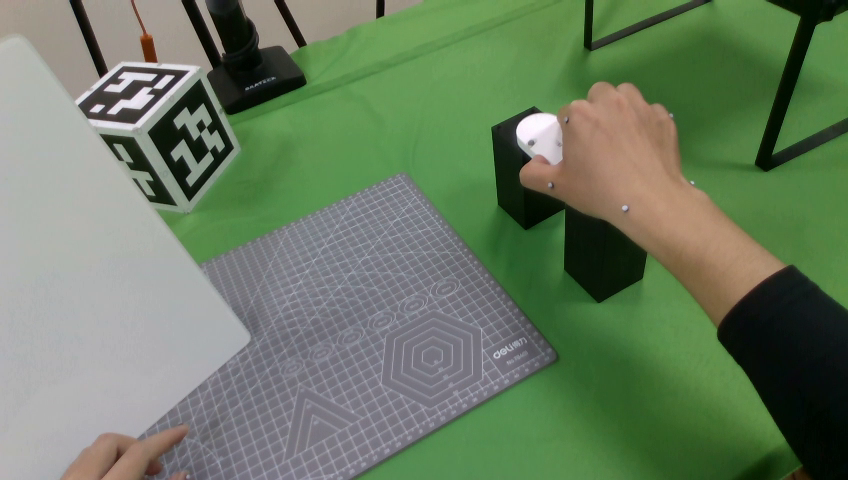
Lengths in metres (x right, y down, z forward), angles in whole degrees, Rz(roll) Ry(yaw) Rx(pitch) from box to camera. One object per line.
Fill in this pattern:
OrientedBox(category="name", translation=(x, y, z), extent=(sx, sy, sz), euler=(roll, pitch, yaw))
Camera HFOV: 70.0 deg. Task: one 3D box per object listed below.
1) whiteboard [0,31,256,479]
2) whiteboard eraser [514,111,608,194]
OrientedBox(category="whiteboard", translation=(-0.329, 0.028, 0.491), extent=(0.217, 0.308, 0.142), euler=(-43, 34, -25))
OrientedBox(category="whiteboard eraser", translation=(0.114, -0.077, 0.512), extent=(0.041, 0.019, 0.100), euler=(-29, 52, -10))
